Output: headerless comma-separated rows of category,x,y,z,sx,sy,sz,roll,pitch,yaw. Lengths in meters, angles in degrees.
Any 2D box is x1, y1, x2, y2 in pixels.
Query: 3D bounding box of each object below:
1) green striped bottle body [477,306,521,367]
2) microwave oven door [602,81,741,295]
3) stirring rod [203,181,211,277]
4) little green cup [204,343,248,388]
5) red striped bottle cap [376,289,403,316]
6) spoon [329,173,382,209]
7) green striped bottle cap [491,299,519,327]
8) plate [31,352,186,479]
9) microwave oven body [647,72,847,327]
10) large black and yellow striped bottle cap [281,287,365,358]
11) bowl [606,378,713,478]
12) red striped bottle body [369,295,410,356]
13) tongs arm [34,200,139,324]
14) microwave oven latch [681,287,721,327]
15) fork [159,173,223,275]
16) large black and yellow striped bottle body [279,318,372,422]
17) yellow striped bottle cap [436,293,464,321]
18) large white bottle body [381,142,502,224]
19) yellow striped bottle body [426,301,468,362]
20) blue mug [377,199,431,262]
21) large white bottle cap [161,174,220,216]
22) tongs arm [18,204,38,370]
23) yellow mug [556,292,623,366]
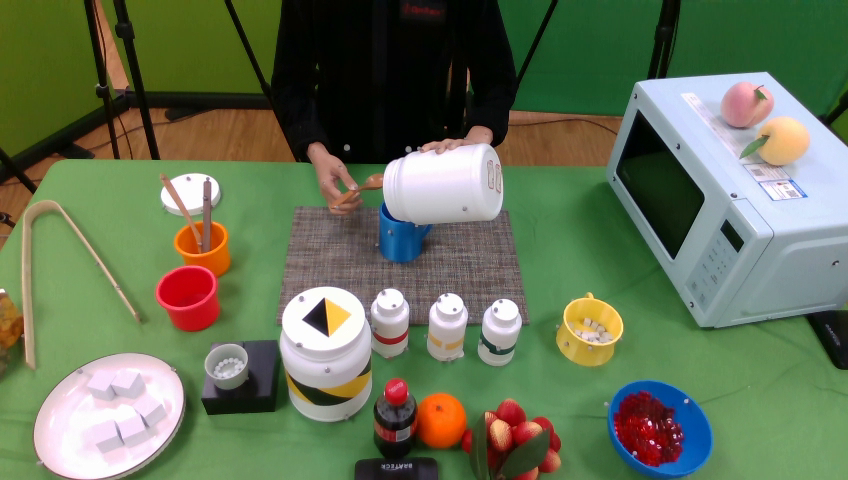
green striped bottle body,0.124,0.151,0.995,0.063,0.120,0.063,2,46,-2
microwave oven door,0.456,-0.107,1.162,0.039,0.245,0.353,-6,47,-11
stirring rod,-0.396,-0.021,1.107,0.014,0.006,0.176,-1,89,-2
little green cup,-0.294,0.190,0.909,0.061,0.039,0.061,1,48,0
red striped bottle cap,-0.054,0.098,0.958,0.044,0.018,0.044,0,48,1
spoon,-0.125,-0.093,1.124,0.041,0.022,0.193,20,25,17
green striped bottle cap,0.128,0.115,0.958,0.044,0.020,0.044,1,47,-1
plate,-0.459,0.262,0.898,0.209,0.038,0.208,2,46,-2
microwave oven body,0.607,-0.089,1.164,0.326,0.261,0.438,-7,46,-10
large black and yellow striped bottle cap,-0.141,0.112,0.847,0.115,0.019,0.114,5,45,-4
bowl,0.340,0.292,0.906,0.151,0.077,0.150,2,46,-2
red striped bottle body,-0.059,0.135,0.997,0.063,0.120,0.062,6,49,-7
tongs arm,-0.622,0.034,1.105,0.051,0.026,0.382,-32,56,-26
microwave oven latch,0.494,0.119,1.087,0.030,0.029,0.078,-6,46,-9
fork,-0.427,-0.029,1.103,0.028,0.018,0.207,-31,99,-29
large black and yellow striped bottle body,-0.145,0.173,0.908,0.131,0.185,0.130,2,46,-2
yellow striped bottle cap,0.041,0.106,0.959,0.044,0.019,0.044,-1,50,1
large white bottle body,0.031,-0.094,1.050,0.184,0.131,0.130,-3,42,24
yellow striped bottle body,0.037,0.142,0.996,0.063,0.121,0.062,2,46,-2
blue mug,-0.033,-0.028,1.159,0.116,0.106,0.082,-22,52,-23
large white bottle cap,-0.483,-0.095,1.253,0.115,0.018,0.114,2,46,-2
tongs arm,-0.698,0.069,1.069,0.028,0.028,0.385,-20,50,-13
yellow mug,0.285,0.145,1.051,0.100,0.064,0.130,8,45,3
